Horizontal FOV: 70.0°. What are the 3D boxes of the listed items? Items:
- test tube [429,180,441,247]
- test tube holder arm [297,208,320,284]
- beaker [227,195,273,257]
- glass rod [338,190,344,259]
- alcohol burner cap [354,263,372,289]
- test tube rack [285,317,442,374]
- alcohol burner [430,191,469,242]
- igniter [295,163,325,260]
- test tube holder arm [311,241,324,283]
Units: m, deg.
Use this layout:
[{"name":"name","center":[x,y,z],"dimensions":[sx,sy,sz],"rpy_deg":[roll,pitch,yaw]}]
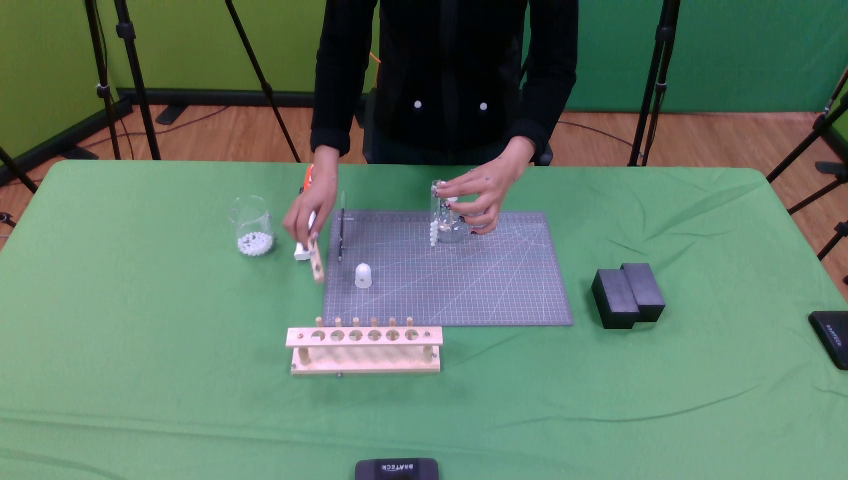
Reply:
[{"name":"test tube","center":[0.017,-0.041,1.013],"dimensions":[0.017,0.151,0.017],"rpy_deg":[1,48,-1]},{"name":"test tube holder arm","center":[-0.206,0.007,1.076],"dimensions":[0.013,0.015,0.177],"rpy_deg":[-13,49,-14]},{"name":"beaker","center":[-0.326,-0.022,1.142],"dimensions":[0.074,0.101,0.083],"rpy_deg":[10,47,6]},{"name":"glass rod","center":[-0.167,-0.036,1.227],"dimensions":[0.008,0.008,0.198],"rpy_deg":[-1,46,-4]},{"name":"alcohol burner cap","center":[-0.113,0.063,1.111],"dimensions":[0.034,0.048,0.033],"rpy_deg":[1,46,-1]},{"name":"test tube rack","center":[-0.095,0.166,0.988],"dimensions":[0.242,0.085,0.066],"rpy_deg":[0,46,-4]},{"name":"alcohol burner","center":[0.051,-0.053,1.185],"dimensions":[0.078,0.119,0.077],"rpy_deg":[2,48,-2]},{"name":"igniter","center":[-0.234,-0.067,1.243],"dimensions":[0.057,0.025,0.274],"rpy_deg":[-6,46,4]},{"name":"test tube holder arm","center":[-0.186,0.038,1.049],"dimensions":[0.010,0.015,0.087],"rpy_deg":[-12,49,-13]}]
